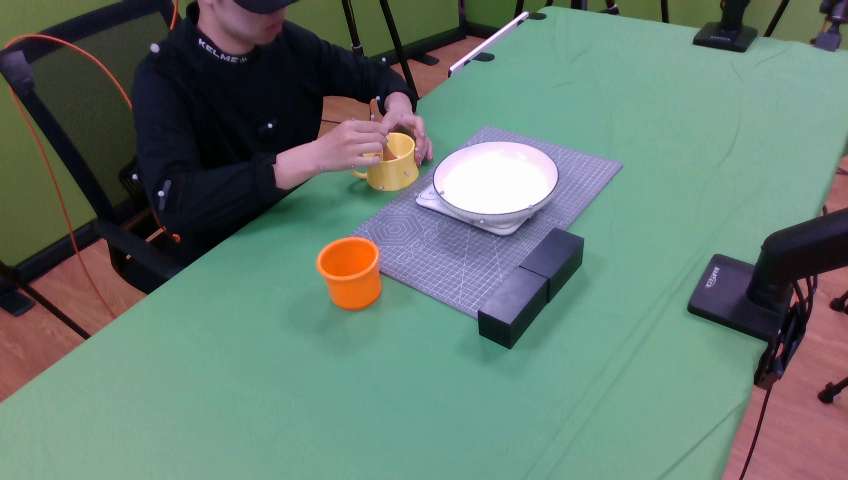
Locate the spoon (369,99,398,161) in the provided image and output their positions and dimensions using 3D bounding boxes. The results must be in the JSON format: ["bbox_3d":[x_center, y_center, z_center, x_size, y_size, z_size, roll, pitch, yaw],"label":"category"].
[{"bbox_3d":[-0.071,-0.173,1.047,0.042,0.195,0.021,-23,54,-4],"label":"spoon"}]

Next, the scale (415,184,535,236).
[{"bbox_3d":[0.099,-0.080,1.035,0.199,0.032,0.149,23,48,31],"label":"scale"}]

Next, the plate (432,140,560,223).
[{"bbox_3d":[0.118,-0.094,0.999,0.209,0.038,0.208,-4,41,4],"label":"plate"}]

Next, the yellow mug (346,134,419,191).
[{"bbox_3d":[-0.079,-0.142,1.115,0.131,0.064,0.099,-6,39,3],"label":"yellow mug"}]
